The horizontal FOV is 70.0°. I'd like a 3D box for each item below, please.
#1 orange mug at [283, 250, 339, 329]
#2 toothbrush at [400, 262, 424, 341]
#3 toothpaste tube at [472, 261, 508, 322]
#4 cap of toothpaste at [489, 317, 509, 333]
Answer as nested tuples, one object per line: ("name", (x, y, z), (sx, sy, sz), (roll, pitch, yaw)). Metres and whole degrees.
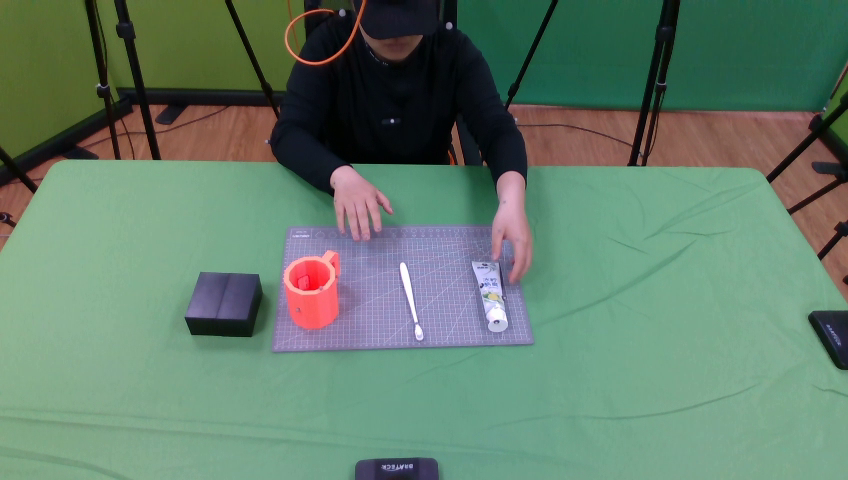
("orange mug", (-0.186, 0.078, 1.052), (0.083, 0.101, 0.126), (20, 52, 15))
("toothbrush", (-0.025, 0.106, 1.093), (0.014, 0.017, 0.180), (-18, 46, 2))
("toothpaste tube", (0.126, 0.094, 1.109), (0.055, 0.034, 0.164), (4, 41, -9))
("cap of toothpaste", (0.130, 0.146, 1.050), (0.037, 0.037, 0.011), (-2, 42, -5))
